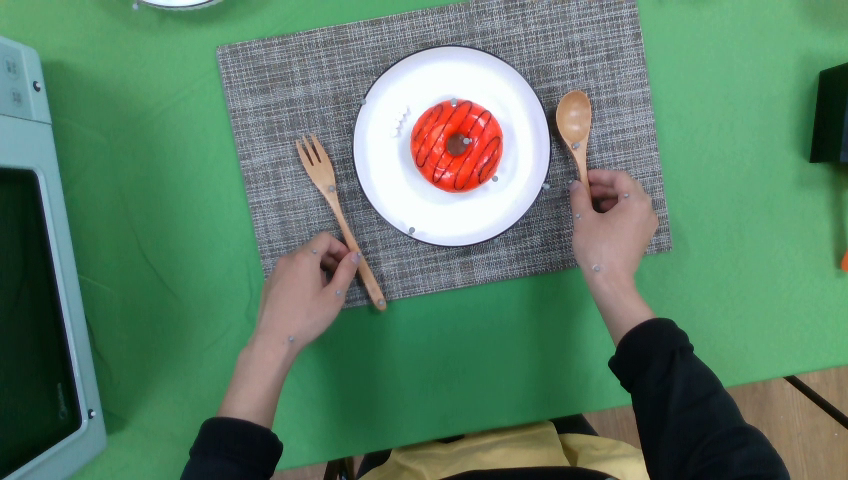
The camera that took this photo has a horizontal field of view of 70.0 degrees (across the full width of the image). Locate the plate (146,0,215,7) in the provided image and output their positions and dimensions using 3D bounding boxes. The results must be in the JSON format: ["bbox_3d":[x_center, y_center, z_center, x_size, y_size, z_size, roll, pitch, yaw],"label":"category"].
[{"bbox_3d":[-0.251,-0.342,0.619,0.208,0.039,0.208,0,95,0],"label":"plate"}]

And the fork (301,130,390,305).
[{"bbox_3d":[-0.084,-0.023,0.656,0.018,0.028,0.207,-25,94,-31],"label":"fork"}]

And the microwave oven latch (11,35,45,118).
[{"bbox_3d":[-0.412,-0.165,0.616,0.030,0.029,0.079,-6,96,0],"label":"microwave oven latch"}]

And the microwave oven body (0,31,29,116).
[{"bbox_3d":[-0.537,0.036,0.537,0.326,0.259,0.442,-7,96,0],"label":"microwave oven body"}]

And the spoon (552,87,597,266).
[{"bbox_3d":[0.168,-0.066,0.651,0.042,0.021,0.194,-11,94,-18],"label":"spoon"}]

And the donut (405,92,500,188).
[{"bbox_3d":[0.030,-0.103,0.629,0.099,0.048,0.099,0,97,2],"label":"donut"}]

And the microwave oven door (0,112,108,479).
[{"bbox_3d":[-0.387,0.061,0.535,0.039,0.243,0.356,-8,95,0],"label":"microwave oven door"}]

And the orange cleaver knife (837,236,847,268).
[{"bbox_3d":[0.473,-0.069,0.628,0.012,0.076,0.213,5,124,2],"label":"orange cleaver knife"}]

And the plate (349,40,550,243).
[{"bbox_3d":[0.026,-0.101,0.640,0.209,0.038,0.209,0,96,0],"label":"plate"}]
